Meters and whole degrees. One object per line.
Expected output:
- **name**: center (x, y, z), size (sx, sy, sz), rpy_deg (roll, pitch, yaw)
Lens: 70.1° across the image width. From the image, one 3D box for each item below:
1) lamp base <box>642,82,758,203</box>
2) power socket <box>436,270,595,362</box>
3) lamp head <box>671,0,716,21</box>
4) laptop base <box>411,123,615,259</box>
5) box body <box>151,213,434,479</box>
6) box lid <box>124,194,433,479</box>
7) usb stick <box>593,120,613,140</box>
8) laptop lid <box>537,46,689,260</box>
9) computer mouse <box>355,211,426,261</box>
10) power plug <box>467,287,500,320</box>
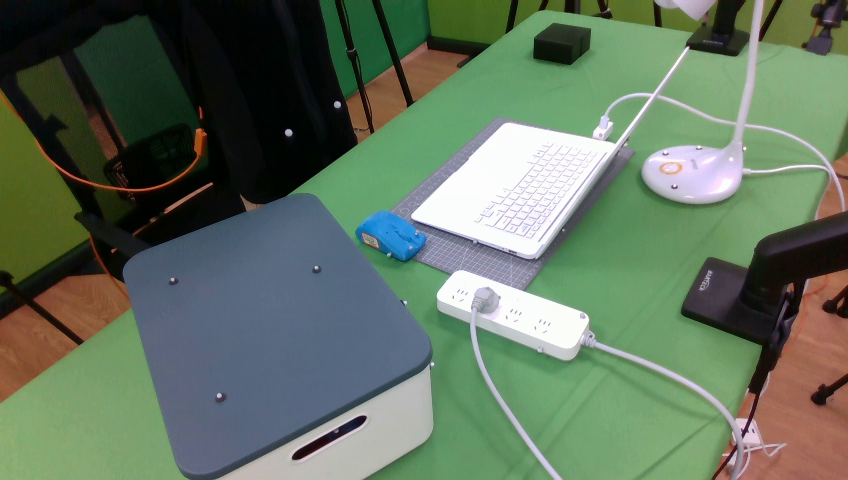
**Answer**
- **lamp base**: center (0.464, -0.174, 0.992), size (0.179, 0.181, 0.159), rpy_deg (-5, 41, -1)
- **power socket**: center (0.119, 0.101, 0.832), size (0.225, 0.033, 0.072), rpy_deg (19, 48, 27)
- **lamp head**: center (0.375, -0.373, 0.807), size (0.122, 0.113, 0.112), rpy_deg (-40, 27, 32)
- **laptop base**: center (0.168, -0.101, 1.073), size (0.234, 0.023, 0.355), rpy_deg (17, 46, 30)
- **box body**: center (-0.175, 0.131, 0.738), size (0.255, 0.161, 0.360), rpy_deg (-25, 43, -19)
- **box lid**: center (-0.182, 0.076, 0.689), size (0.264, 0.015, 0.368), rpy_deg (-24, 42, -20)
- **usb stick**: center (0.336, -0.201, 1.146), size (0.021, 0.027, 0.059), rpy_deg (26, 53, 27)
- **laptop lid**: center (0.293, -0.136, 0.927), size (0.013, 0.241, 0.357), rpy_deg (35, 51, 10)
- **computer mouse**: center (-0.055, -0.010, 0.979), size (0.116, 0.041, 0.063), rpy_deg (27, 49, 29)
- **power plug**: center (0.073, 0.092, 0.814), size (0.035, 0.053, 0.073), rpy_deg (29, 54, 34)
